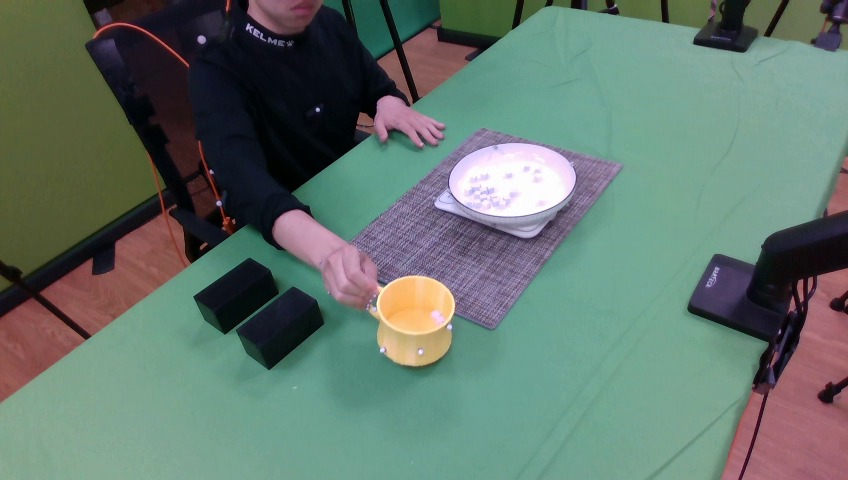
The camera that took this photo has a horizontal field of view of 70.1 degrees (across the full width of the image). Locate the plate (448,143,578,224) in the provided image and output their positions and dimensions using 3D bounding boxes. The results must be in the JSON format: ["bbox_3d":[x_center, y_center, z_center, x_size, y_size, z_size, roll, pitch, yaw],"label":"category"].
[{"bbox_3d":[0.145,-0.089,0.989,0.209,0.038,0.208,-4,40,4],"label":"plate"}]

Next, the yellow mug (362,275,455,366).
[{"bbox_3d":[-0.025,0.097,0.785,0.130,0.064,0.100,22,45,19],"label":"yellow mug"}]

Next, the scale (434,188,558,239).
[{"bbox_3d":[0.132,-0.075,1.025,0.199,0.032,0.149,22,48,30],"label":"scale"}]
